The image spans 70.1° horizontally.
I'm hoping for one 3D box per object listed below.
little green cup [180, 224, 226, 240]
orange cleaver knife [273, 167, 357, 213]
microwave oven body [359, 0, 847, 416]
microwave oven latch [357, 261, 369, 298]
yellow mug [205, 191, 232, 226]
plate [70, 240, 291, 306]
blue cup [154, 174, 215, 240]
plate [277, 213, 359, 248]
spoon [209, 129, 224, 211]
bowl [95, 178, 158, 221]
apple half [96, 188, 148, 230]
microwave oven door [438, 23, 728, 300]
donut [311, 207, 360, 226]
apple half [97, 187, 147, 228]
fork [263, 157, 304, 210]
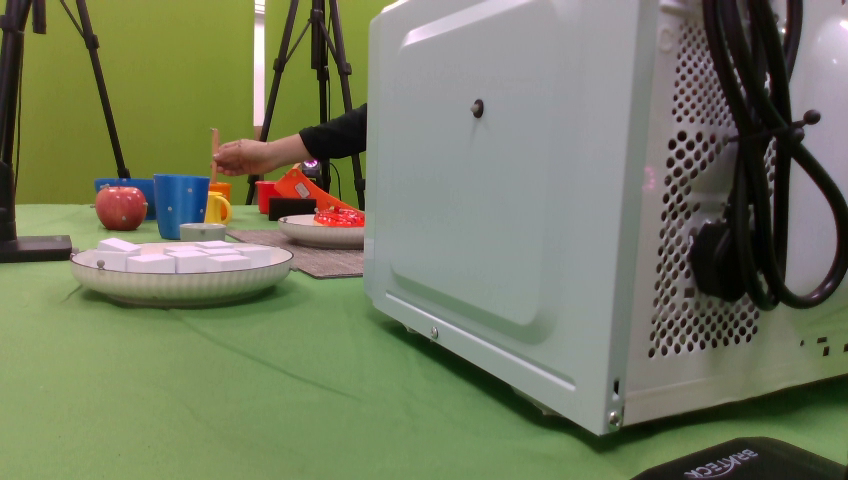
[{"bbox_3d":[-0.309,-0.001,0.846,0.061,0.038,0.061,2,8,0],"label":"little green cup"},{"bbox_3d":[-0.238,-0.091,1.381,0.212,0.077,0.012,31,1,-19],"label":"orange cleaver knife"},{"bbox_3d":[0.211,-0.047,0.474,0.444,0.260,0.324,-1,7,-28],"label":"microwave oven body"},{"bbox_3d":[-0.019,0.034,0.530,0.079,0.029,0.030,0,7,-25],"label":"microwave oven latch"},{"bbox_3d":[-0.415,-0.057,1.131,0.130,0.064,0.100,6,7,16],"label":"yellow mug"},{"bbox_3d":[-0.242,0.032,0.619,0.208,0.039,0.207,3,8,0],"label":"plate"},{"bbox_3d":[-0.391,-0.053,0.978,0.093,0.100,0.092,4,6,0],"label":"blue cup"},{"bbox_3d":[-0.135,-0.017,0.992,0.209,0.038,0.209,2,8,0],"label":"plate"},{"bbox_3d":[-0.446,-0.148,1.293,0.042,0.193,0.021,4,-11,-24],"label":"spoon"},{"bbox_3d":[-0.576,-0.081,1.217,0.151,0.077,0.151,3,8,0],"label":"bowl"},{"bbox_3d":[-0.517,-0.052,1.036,0.081,0.074,0.053,3,10,-26],"label":"apple half"},{"bbox_3d":[0.181,-0.073,0.620,0.358,0.243,0.039,-2,8,-29],"label":"microwave oven door"},{"bbox_3d":[-0.137,-0.029,0.995,0.099,0.048,0.099,4,8,0],"label":"donut"},{"bbox_3d":[-0.534,-0.059,1.071,0.082,0.081,0.032,-1,9,-25],"label":"apple half"},{"bbox_3d":[-0.345,-0.143,1.505,0.028,0.019,0.207,-5,45,29],"label":"fork"}]
